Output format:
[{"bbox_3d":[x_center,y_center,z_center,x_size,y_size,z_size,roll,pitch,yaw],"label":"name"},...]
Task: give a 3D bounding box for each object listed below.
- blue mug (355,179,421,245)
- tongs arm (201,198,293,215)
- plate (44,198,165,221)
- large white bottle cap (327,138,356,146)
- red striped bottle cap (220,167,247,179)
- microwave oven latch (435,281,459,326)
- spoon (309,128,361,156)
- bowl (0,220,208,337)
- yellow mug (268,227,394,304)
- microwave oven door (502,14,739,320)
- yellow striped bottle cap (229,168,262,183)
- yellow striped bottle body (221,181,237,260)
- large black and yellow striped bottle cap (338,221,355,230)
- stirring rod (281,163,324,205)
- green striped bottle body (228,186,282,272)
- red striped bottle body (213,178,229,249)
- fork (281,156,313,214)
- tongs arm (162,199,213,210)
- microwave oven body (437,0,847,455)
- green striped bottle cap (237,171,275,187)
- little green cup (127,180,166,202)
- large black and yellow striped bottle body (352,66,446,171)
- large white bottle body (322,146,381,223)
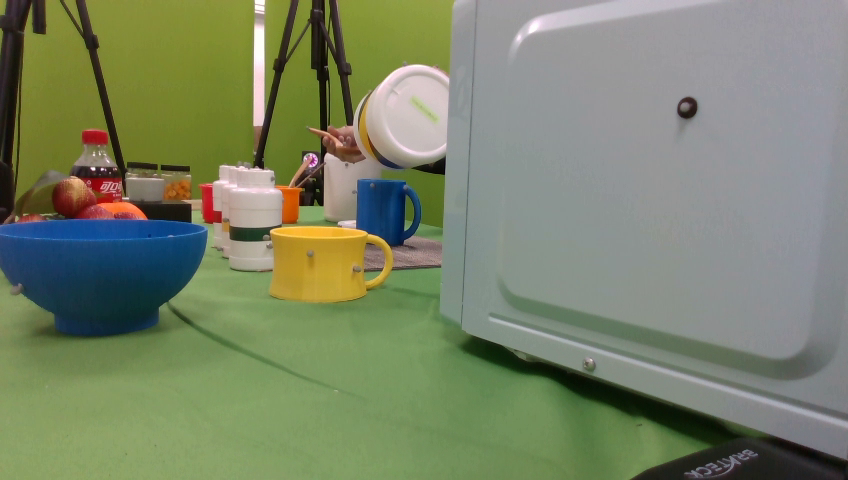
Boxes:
[{"bbox_3d":[-0.059,-0.047,1.005,0.116,0.106,0.082,6,9,23],"label":"blue mug"},{"bbox_3d":[-0.423,-0.084,1.472,0.050,0.026,0.386,2,6,21],"label":"tongs arm"},{"bbox_3d":[-0.617,-0.056,1.179,0.209,0.038,0.209,3,7,0],"label":"plate"},{"bbox_3d":[-0.160,-0.218,1.357,0.115,0.018,0.115,1,8,0],"label":"large white bottle cap"},{"bbox_3d":[-0.281,-0.100,0.901,0.044,0.017,0.044,-1,5,0],"label":"red striped bottle cap"},{"bbox_3d":[0.044,0.046,0.470,0.079,0.029,0.030,-3,8,-40],"label":"microwave oven latch"},{"bbox_3d":[-0.165,-0.180,1.087,0.042,0.021,0.192,14,14,-37],"label":"spoon"},{"bbox_3d":[-0.251,0.029,0.479,0.151,0.077,0.151,2,7,0],"label":"bowl"},{"bbox_3d":[-0.094,0.023,0.629,0.131,0.064,0.099,0,7,-22],"label":"yellow mug"},{"bbox_3d":[0.217,-0.065,0.601,0.358,0.243,0.039,-4,10,-41],"label":"microwave oven door"},{"bbox_3d":[-0.240,-0.087,0.816,0.044,0.018,0.044,-2,5,1],"label":"yellow striped bottle cap"},{"bbox_3d":[-0.244,-0.035,0.823,0.063,0.120,0.063,2,8,0],"label":"yellow striped bottle body"},{"bbox_3d":[-0.107,-0.022,1.148,0.115,0.019,0.115,1,8,0],"label":"large black and yellow striped bottle cap"},{"bbox_3d":[-0.278,-0.105,1.293,0.176,0.006,0.014,-47,24,-18],"label":"stirring rod"},{"bbox_3d":[-0.208,-0.023,0.745,0.063,0.119,0.063,2,7,0],"label":"green striped bottle body"},{"bbox_3d":[-0.284,-0.047,0.907,0.063,0.119,0.063,2,7,0],"label":"red striped bottle body"},{"bbox_3d":[-0.289,-0.116,1.320,0.028,0.019,0.207,0,49,25],"label":"fork"},{"bbox_3d":[-0.504,-0.091,1.513,0.028,0.028,0.389,-1,4,37],"label":"tongs arm"},{"bbox_3d":[0.279,-0.040,0.464,0.444,0.260,0.324,-3,8,-41],"label":"microwave oven body"},{"bbox_3d":[-0.205,-0.074,0.738,0.044,0.020,0.044,1,9,0],"label":"green striped bottle cap"},{"bbox_3d":[-0.486,-0.087,1.062,0.061,0.038,0.061,0,7,0],"label":"little green cup"},{"bbox_3d":[-0.032,-0.169,0.881,0.131,0.130,0.183,0,2,-18],"label":"large black and yellow striped bottle body"},{"bbox_3d":[-0.163,-0.134,1.369,0.131,0.184,0.130,3,7,0],"label":"large white bottle body"}]
